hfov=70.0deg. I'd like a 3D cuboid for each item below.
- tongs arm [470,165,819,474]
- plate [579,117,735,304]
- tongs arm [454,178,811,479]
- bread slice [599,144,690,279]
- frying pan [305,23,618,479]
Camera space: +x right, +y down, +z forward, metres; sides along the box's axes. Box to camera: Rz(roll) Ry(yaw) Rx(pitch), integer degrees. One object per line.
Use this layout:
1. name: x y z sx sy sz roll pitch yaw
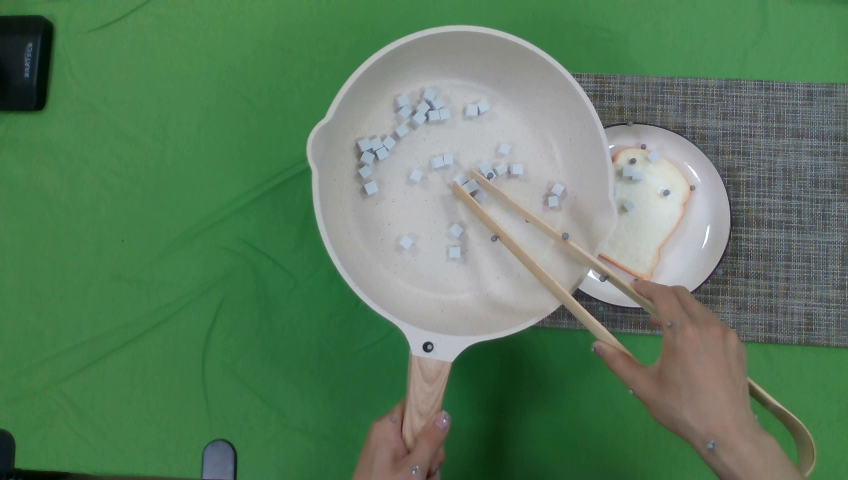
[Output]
1. tongs arm: 0.177 0.058 0.545 0.382 0.027 0.050 38 76 17
2. plate: 0.235 -0.032 0.680 0.207 0.039 0.207 0 84 4
3. tongs arm: 0.164 0.070 0.542 0.028 0.028 0.385 -41 71 -15
4. bread slice: 0.232 -0.040 0.683 0.107 0.018 0.134 27 89 5
5. frying pan: 0.018 0.047 0.570 0.308 0.102 0.486 13 80 -13
